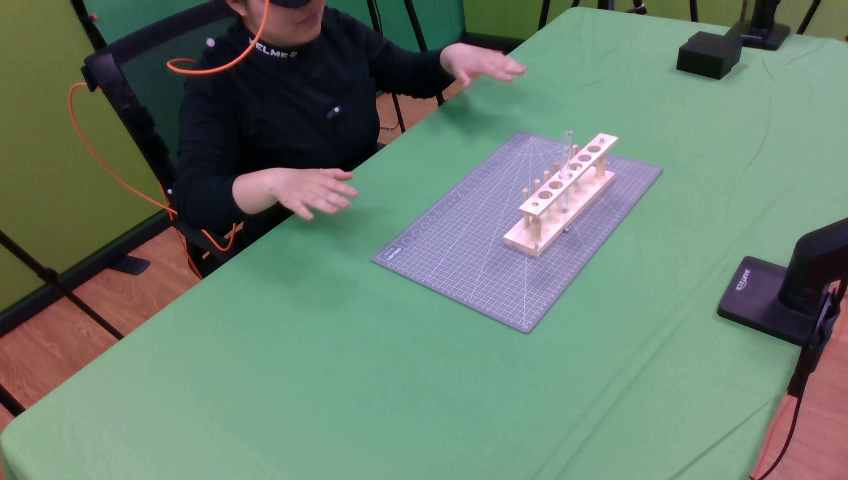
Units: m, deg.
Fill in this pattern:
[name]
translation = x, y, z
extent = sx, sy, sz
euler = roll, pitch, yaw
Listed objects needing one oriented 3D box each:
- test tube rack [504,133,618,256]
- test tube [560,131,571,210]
[test tube rack]
translation = 0.225, -0.083, 0.985
extent = 0.066, 0.085, 0.243
euler = 25, 50, 34
[test tube]
translation = 0.218, -0.103, 0.933
extent = 0.017, 0.151, 0.017
euler = -6, 45, 7
